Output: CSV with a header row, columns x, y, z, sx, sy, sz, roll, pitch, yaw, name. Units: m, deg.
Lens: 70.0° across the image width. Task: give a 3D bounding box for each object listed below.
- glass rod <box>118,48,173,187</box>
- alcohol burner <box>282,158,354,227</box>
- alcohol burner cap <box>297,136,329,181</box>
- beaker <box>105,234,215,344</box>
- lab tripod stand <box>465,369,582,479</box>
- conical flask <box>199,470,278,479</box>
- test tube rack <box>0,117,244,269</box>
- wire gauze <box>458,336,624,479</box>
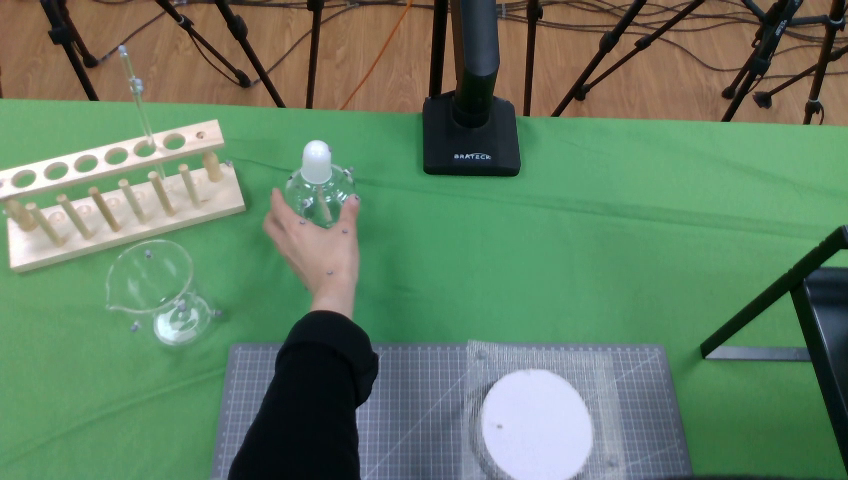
x,y,z,sx,sy,sz,roll,pitch,yaw,name
-0.276,-0.113,0.609,0.008,0.201,0.008,4,58,-7,glass rod
-0.115,-0.067,0.655,0.078,0.120,0.077,3,58,-4,alcohol burner
-0.113,-0.087,0.625,0.034,0.048,0.033,7,59,-11,alcohol burner cap
-0.250,0.054,0.584,0.084,0.101,0.073,-39,69,-22,beaker
0.077,0.173,0.517,0.148,0.132,0.147,3,58,-4,lab tripod stand
-0.151,0.213,0.483,0.075,0.123,0.074,2,59,-3,conical flask
-0.327,-0.050,0.645,0.243,0.086,0.066,-17,63,-14,test tube rack
0.089,0.135,0.462,0.121,0.011,0.124,6,61,-2,wire gauze
